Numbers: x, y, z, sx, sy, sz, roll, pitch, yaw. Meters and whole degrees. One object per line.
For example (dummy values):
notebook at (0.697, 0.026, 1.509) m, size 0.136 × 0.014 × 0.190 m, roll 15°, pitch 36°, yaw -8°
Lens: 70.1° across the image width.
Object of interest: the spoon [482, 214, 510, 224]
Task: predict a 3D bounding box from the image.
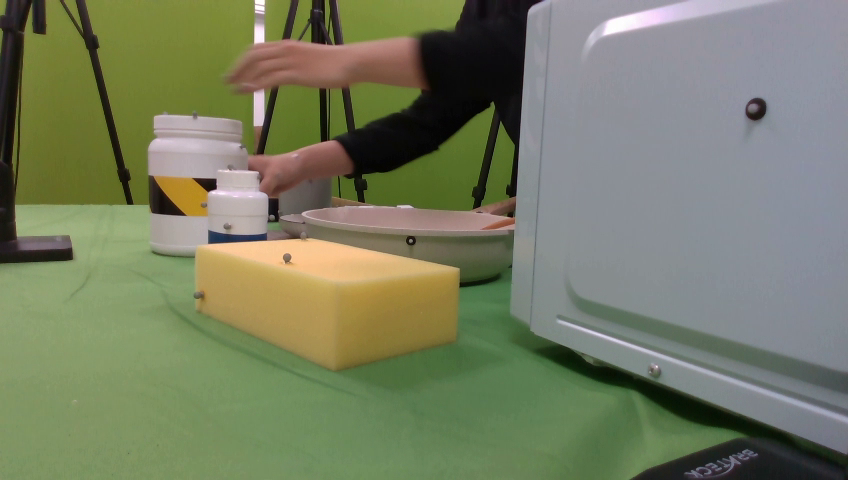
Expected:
spoon at (0.076, -0.013, 0.794) m, size 0.193 × 0.021 × 0.042 m, roll -24°, pitch -2°, yaw 11°

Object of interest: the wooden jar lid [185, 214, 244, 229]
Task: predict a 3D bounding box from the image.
wooden jar lid at (-0.404, -0.037, 1.169) m, size 0.108 × 0.020 × 0.108 m, roll 3°, pitch 7°, yaw 0°

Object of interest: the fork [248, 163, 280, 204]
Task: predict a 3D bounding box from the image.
fork at (-0.396, -0.143, 1.486) m, size 0.028 × 0.018 × 0.208 m, roll 20°, pitch -26°, yaw 45°

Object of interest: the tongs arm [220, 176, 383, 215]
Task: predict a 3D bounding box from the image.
tongs arm at (-0.285, -0.104, 1.445) m, size 0.389 × 0.027 × 0.028 m, roll 9°, pitch -4°, yaw -23°

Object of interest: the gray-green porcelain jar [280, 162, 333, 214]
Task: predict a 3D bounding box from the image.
gray-green porcelain jar at (-0.238, -0.092, 1.221) m, size 0.106 × 0.126 × 0.106 m, roll 2°, pitch 7°, yaw 0°

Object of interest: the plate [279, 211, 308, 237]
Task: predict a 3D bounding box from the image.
plate at (-0.139, -0.022, 1.020) m, size 0.209 × 0.038 × 0.209 m, roll 3°, pitch 8°, yaw 0°

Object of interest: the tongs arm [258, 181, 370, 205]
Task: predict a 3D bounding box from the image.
tongs arm at (-0.241, -0.095, 1.373) m, size 0.387 × 0.026 × 0.050 m, roll 9°, pitch 0°, yaw -37°

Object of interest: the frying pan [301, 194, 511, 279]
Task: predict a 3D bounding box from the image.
frying pan at (0.050, -0.028, 0.864) m, size 0.305 × 0.102 × 0.490 m, roll 8°, pitch 18°, yaw 35°

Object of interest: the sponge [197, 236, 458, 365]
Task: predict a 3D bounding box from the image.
sponge at (-0.087, 0.039, 0.500) m, size 0.119 × 0.061 × 0.206 m, roll -5°, pitch 10°, yaw -45°

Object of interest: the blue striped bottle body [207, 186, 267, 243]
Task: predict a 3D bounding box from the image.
blue striped bottle body at (-0.204, -0.016, 0.663) m, size 0.063 × 0.120 × 0.063 m, roll 2°, pitch 7°, yaw 0°

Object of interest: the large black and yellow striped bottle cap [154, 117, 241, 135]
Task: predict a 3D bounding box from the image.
large black and yellow striped bottle cap at (-0.314, -0.158, 0.843) m, size 0.115 × 0.019 × 0.115 m, roll 3°, pitch 7°, yaw 0°

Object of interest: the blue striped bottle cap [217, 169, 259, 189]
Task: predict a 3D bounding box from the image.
blue striped bottle cap at (-0.202, -0.067, 0.656) m, size 0.044 × 0.020 × 0.044 m, roll 0°, pitch 10°, yaw 0°

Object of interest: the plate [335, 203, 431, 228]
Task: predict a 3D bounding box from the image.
plate at (-0.089, -0.053, 1.309) m, size 0.208 × 0.039 × 0.207 m, roll 2°, pitch 8°, yaw 0°

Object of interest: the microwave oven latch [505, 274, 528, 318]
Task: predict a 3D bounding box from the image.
microwave oven latch at (0.100, 0.041, 0.472) m, size 0.079 × 0.029 × 0.030 m, roll -2°, pitch 8°, yaw -30°

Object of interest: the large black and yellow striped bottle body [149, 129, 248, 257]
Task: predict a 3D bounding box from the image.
large black and yellow striped bottle body at (-0.315, -0.075, 0.854) m, size 0.131 × 0.184 × 0.130 m, roll 1°, pitch 8°, yaw 0°

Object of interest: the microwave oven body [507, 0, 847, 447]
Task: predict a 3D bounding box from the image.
microwave oven body at (0.331, -0.042, 0.425) m, size 0.444 × 0.260 × 0.324 m, roll -2°, pitch 8°, yaw -31°

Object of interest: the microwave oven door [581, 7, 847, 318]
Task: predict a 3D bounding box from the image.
microwave oven door at (0.295, -0.067, 0.569) m, size 0.358 × 0.243 × 0.039 m, roll -3°, pitch 8°, yaw -31°
